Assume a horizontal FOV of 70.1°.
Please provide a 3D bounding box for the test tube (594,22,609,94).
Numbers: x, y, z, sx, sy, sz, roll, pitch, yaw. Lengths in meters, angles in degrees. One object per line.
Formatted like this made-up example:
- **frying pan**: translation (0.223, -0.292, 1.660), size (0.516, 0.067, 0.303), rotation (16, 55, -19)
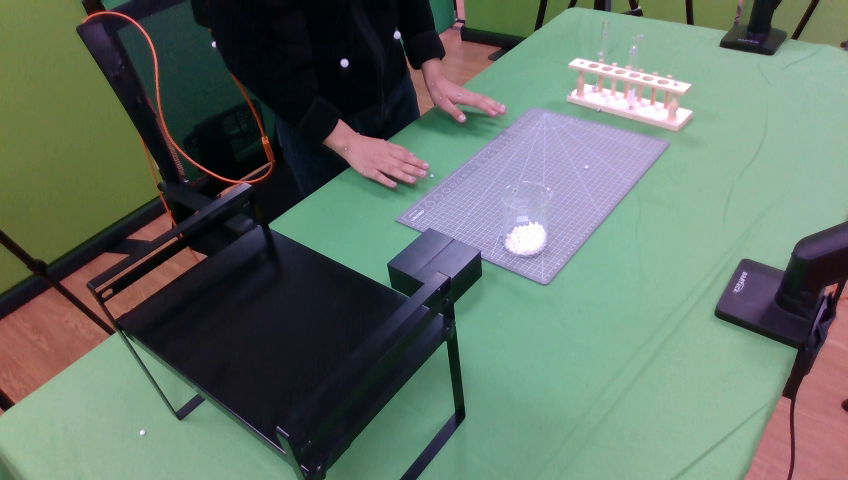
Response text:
- **test tube**: translation (0.363, -0.371, 1.238), size (0.017, 0.151, 0.017), rotation (-4, 40, 3)

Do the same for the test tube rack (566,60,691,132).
- **test tube rack**: translation (0.411, -0.299, 1.217), size (0.240, 0.085, 0.067), rotation (26, 51, 33)

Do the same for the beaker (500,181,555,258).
- **beaker**: translation (0.158, -0.030, 0.922), size (0.084, 0.100, 0.073), rotation (-13, 41, -8)

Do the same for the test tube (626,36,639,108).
- **test tube**: translation (0.402, -0.322, 1.167), size (0.017, 0.151, 0.017), rotation (-7, 43, 7)
